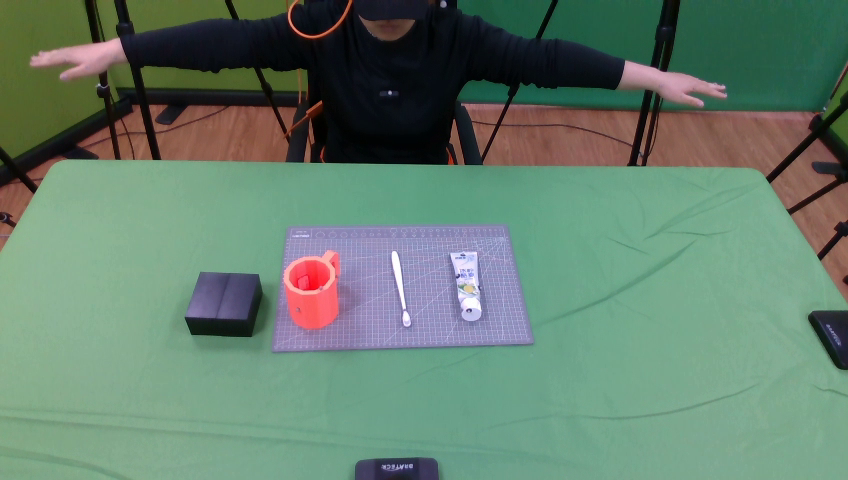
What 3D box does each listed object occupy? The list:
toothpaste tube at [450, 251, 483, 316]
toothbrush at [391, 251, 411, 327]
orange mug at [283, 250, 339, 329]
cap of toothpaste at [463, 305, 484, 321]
[{"bbox_3d":[0.084,0.077,1.122,0.055,0.035,0.164,3,41,-8],"label":"toothpaste tube"},{"bbox_3d":[-0.044,0.085,1.112,0.014,0.017,0.180,-14,46,1],"label":"toothbrush"},{"bbox_3d":[-0.186,0.078,1.052,0.083,0.101,0.126,20,52,15],"label":"orange mug"},{"bbox_3d":[0.087,0.127,1.064,0.037,0.037,0.011,2,40,-2],"label":"cap of toothpaste"}]
